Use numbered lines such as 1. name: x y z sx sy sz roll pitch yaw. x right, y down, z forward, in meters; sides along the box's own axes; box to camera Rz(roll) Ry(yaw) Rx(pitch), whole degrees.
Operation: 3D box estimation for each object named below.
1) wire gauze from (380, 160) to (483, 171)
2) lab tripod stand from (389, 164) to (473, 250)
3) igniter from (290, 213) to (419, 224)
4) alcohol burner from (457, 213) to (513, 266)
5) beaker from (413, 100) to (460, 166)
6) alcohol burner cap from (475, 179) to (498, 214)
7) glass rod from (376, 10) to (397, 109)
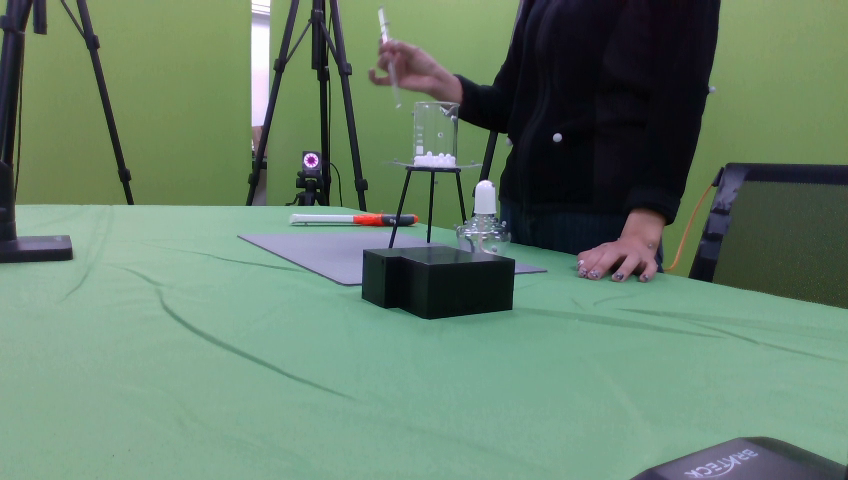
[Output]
1. wire gauze: 0.011 -0.119 0.951 0.122 0.011 0.124 -5 12 -32
2. lab tripod stand: 0.011 -0.054 0.960 0.148 0.131 0.148 2 9 0
3. igniter: -0.143 -0.046 1.288 0.278 0.025 0.057 -1 -3 -24
4. alcohol burner: 0.084 -0.025 0.837 0.078 0.119 0.078 0 8 0
5. beaker: 0.020 -0.167 0.953 0.073 0.100 0.084 5 9 26
6. alcohol burner cap: 0.086 -0.061 0.833 0.034 0.048 0.034 -1 11 0
7. glass rod: -0.065 -0.311 1.035 0.008 0.199 0.008 -10 -18 -3
